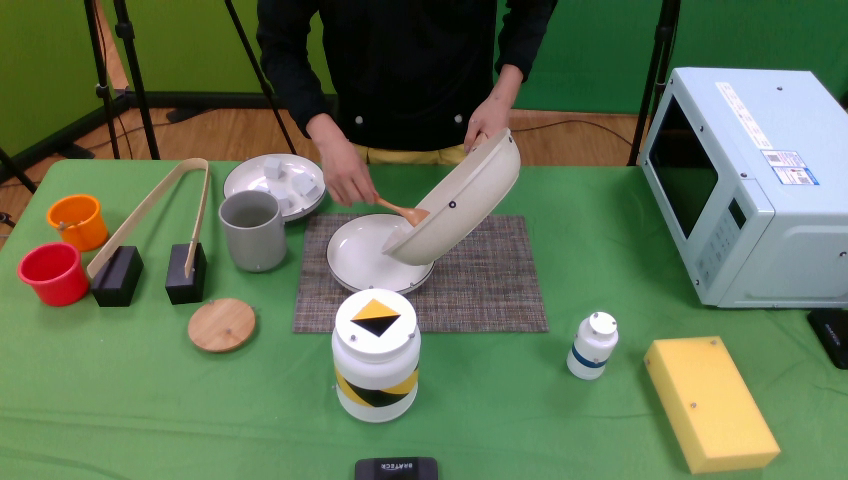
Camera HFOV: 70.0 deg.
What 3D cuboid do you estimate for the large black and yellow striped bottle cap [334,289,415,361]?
[{"bbox_3d":[-0.069,0.117,0.850,0.115,0.019,0.114,2,45,-2],"label":"large black and yellow striped bottle cap"}]

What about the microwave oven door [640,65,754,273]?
[{"bbox_3d":[0.523,-0.147,1.193,0.039,0.245,0.353,0,47,-3],"label":"microwave oven door"}]

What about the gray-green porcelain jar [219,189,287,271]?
[{"bbox_3d":[-0.310,-0.014,1.113,0.106,0.127,0.105,2,46,-2],"label":"gray-green porcelain jar"}]

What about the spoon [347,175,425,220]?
[{"bbox_3d":[-0.061,-0.068,1.096,0.193,0.021,0.041,28,15,12],"label":"spoon"}]

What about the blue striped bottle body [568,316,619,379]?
[{"bbox_3d":[0.276,0.168,0.984,0.063,0.121,0.062,2,46,-2],"label":"blue striped bottle body"}]

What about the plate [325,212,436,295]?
[{"bbox_3d":[-0.080,0.030,1.143,0.209,0.038,0.208,2,46,-2],"label":"plate"}]

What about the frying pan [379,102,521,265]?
[{"bbox_3d":[0.081,-0.129,1.072,0.103,0.307,0.486,40,42,-14],"label":"frying pan"}]

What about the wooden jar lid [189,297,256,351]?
[{"bbox_3d":[-0.342,0.145,1.033,0.108,0.021,0.107,2,45,-2],"label":"wooden jar lid"}]

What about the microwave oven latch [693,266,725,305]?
[{"bbox_3d":[0.523,0.082,1.115,0.030,0.029,0.078,3,46,0],"label":"microwave oven latch"}]

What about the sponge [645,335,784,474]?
[{"bbox_3d":[0.449,0.253,0.956,0.118,0.061,0.205,-4,46,-7],"label":"sponge"}]

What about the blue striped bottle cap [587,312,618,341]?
[{"bbox_3d":[0.279,0.134,0.946,0.044,0.021,0.044,2,45,-2],"label":"blue striped bottle cap"}]

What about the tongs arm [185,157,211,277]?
[{"bbox_3d":[-0.446,-0.058,1.168,0.051,0.026,0.382,-5,37,-6],"label":"tongs arm"}]

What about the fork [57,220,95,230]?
[{"bbox_3d":[-0.624,-0.027,1.086,0.028,0.207,0.018,-2,91,-17],"label":"fork"}]

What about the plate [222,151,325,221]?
[{"bbox_3d":[-0.310,-0.106,1.263,0.208,0.039,0.206,3,46,-2],"label":"plate"}]

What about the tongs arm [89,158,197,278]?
[{"bbox_3d":[-0.530,-0.057,1.163,0.028,0.028,0.385,1,36,8],"label":"tongs arm"}]

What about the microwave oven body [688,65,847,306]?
[{"bbox_3d":[0.669,-0.111,1.176,0.326,0.261,0.439,0,46,-3],"label":"microwave oven body"}]

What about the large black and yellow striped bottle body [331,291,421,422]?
[{"bbox_3d":[-0.071,0.175,0.911,0.131,0.185,0.130,2,47,-2],"label":"large black and yellow striped bottle body"}]
